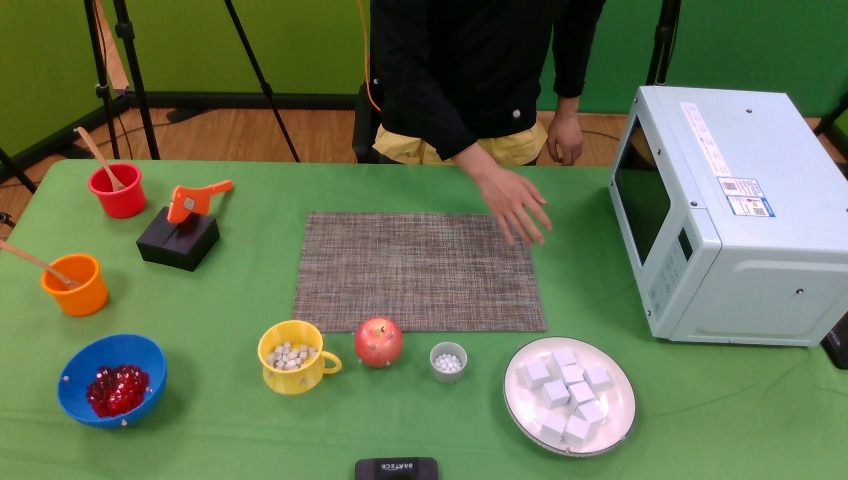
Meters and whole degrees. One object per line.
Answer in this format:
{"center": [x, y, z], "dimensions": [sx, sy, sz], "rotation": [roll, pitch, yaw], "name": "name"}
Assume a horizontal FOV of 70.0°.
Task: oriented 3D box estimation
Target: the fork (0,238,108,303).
{"center": [-0.633, 0.048, 1.017], "dimensions": [0.208, 0.018, 0.028], "rotation": [40, 41, -27], "name": "fork"}

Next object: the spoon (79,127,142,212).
{"center": [-0.624, -0.140, 1.203], "dimensions": [0.041, 0.021, 0.194], "rotation": [-33, 100, -26], "name": "spoon"}

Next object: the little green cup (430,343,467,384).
{"center": [0.039, 0.203, 0.994], "dimensions": [0.061, 0.039, 0.061], "rotation": [2, 46, -2], "name": "little green cup"}

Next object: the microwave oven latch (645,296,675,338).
{"center": [0.412, 0.134, 1.061], "dimensions": [0.030, 0.029, 0.078], "rotation": [3, 45, 0], "name": "microwave oven latch"}

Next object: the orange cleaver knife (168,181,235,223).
{"center": [-0.436, -0.078, 1.196], "dimensions": [0.012, 0.077, 0.211], "rotation": [16, 15, 10], "name": "orange cleaver knife"}

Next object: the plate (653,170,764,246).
{"center": [0.555, -0.059, 1.196], "dimensions": [0.209, 0.038, 0.208], "rotation": [2, 46, -2], "name": "plate"}

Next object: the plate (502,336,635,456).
{"center": [0.225, 0.248, 0.963], "dimensions": [0.208, 0.039, 0.206], "rotation": [2, 46, -2], "name": "plate"}

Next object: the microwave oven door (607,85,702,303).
{"center": [0.423, -0.094, 1.140], "dimensions": [0.039, 0.245, 0.353], "rotation": [2, 46, -1], "name": "microwave oven door"}

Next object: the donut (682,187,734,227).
{"center": [0.553, -0.066, 1.184], "dimensions": [0.099, 0.048, 0.098], "rotation": [3, 44, -2], "name": "donut"}

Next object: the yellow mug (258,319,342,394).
{"center": [-0.195, 0.189, 0.972], "dimensions": [0.131, 0.064, 0.099], "rotation": [9, 46, 4], "name": "yellow mug"}

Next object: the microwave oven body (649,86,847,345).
{"center": [0.568, -0.053, 1.118], "dimensions": [0.326, 0.261, 0.439], "rotation": [2, 45, -1], "name": "microwave oven body"}

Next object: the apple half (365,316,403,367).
{"center": [-0.063, 0.165, 1.000], "dimensions": [0.053, 0.075, 0.080], "rotation": [-16, 45, -24], "name": "apple half"}

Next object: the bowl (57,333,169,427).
{"center": [-0.456, 0.223, 0.912], "dimensions": [0.151, 0.077, 0.150], "rotation": [3, 45, -2], "name": "bowl"}

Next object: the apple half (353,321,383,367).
{"center": [-0.097, 0.177, 0.984], "dimensions": [0.033, 0.081, 0.081], "rotation": [-17, 49, -25], "name": "apple half"}
